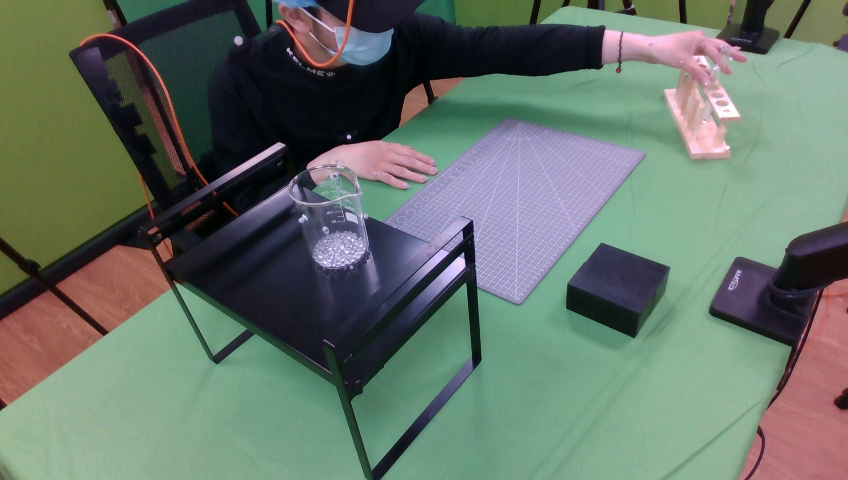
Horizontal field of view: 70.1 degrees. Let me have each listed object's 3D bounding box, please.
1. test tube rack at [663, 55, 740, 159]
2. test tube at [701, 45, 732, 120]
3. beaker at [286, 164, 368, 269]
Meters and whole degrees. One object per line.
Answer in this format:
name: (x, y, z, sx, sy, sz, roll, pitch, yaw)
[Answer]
test tube rack: (0.518, -0.257, 1.144, 0.066, 0.085, 0.241, -1, 41, 8)
test tube: (0.528, -0.281, 1.095, 0.017, 0.151, 0.017, -3, 46, 3)
beaker: (-0.101, -0.024, 0.676, 0.083, 0.101, 0.074, 8, 43, 17)
